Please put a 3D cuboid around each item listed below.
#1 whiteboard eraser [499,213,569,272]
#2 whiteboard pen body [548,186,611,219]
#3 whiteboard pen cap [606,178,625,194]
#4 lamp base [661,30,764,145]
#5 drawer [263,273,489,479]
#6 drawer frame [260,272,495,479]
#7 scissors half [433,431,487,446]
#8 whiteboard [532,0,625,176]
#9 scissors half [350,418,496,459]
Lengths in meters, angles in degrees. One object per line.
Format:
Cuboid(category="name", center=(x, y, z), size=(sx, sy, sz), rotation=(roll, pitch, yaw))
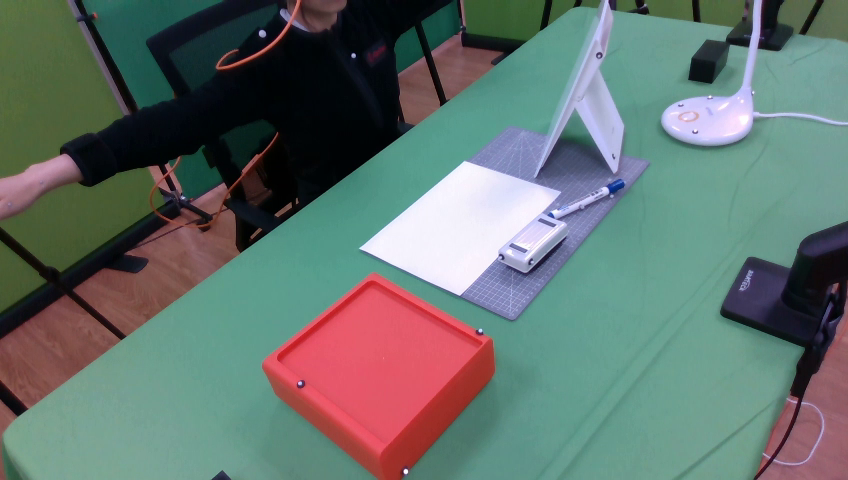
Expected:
Cuboid(category="whiteboard eraser", center=(0.168, 0.006, 0.923), size=(0.055, 0.042, 0.113), rotation=(29, 53, 34))
Cuboid(category="whiteboard pen body", center=(0.267, -0.066, 1.004), size=(0.141, 0.017, 0.017), rotation=(-25, 43, -13))
Cuboid(category="whiteboard pen cap", center=(0.320, -0.090, 1.016), size=(0.033, 0.018, 0.018), rotation=(-27, 43, -14))
Cuboid(category="lamp base", center=(0.535, -0.287, 1.096), size=(0.179, 0.181, 0.159), rotation=(-10, 40, -4))
Cuboid(category="drawer", center=(-0.057, 0.159, 0.759), size=(0.210, 0.073, 0.195), rotation=(27, 51, 34))
Cuboid(category="drawer frame", center=(-0.055, 0.159, 0.758), size=(0.212, 0.083, 0.202), rotation=(26, 50, 33))
Cuboid(category="scissors half", center=(0.000, 0.234, 0.706), size=(0.176, 0.040, 0.012), rotation=(11, 25, -25))
Cuboid(category="whiteboard", center=(0.320, -0.259, 1.050), size=(0.144, 0.306, 0.217), rotation=(21, 45, 5))
Cuboid(category="scissors half", center=(0.002, 0.224, 0.700), size=(0.176, 0.040, 0.012), rotation=(-5, 38, -17))
